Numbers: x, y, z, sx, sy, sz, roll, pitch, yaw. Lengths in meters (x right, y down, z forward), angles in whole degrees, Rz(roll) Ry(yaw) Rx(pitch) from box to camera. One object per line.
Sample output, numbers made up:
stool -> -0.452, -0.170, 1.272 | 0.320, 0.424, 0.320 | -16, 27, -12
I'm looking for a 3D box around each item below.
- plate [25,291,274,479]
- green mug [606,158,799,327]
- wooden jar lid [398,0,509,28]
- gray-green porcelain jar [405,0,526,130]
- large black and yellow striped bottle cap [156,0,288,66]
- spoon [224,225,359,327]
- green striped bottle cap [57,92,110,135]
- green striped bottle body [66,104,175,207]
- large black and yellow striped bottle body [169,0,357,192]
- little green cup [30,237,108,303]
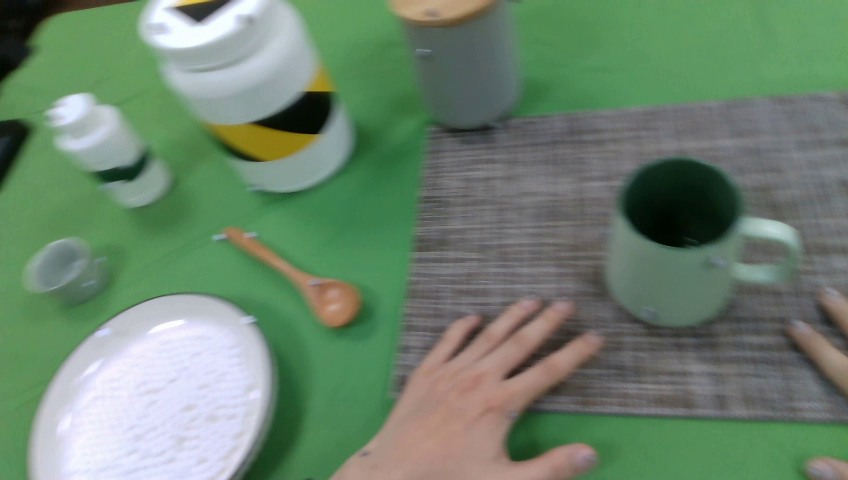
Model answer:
plate -> -0.217, 0.140, 0.497 | 0.209, 0.038, 0.207 | -7, 55, 10
green mug -> 0.196, 0.006, 0.434 | 0.125, 0.106, 0.092 | 7, 58, 19
wooden jar lid -> 0.031, -0.219, 0.541 | 0.108, 0.021, 0.107 | -9, 53, 12
gray-green porcelain jar -> 0.044, -0.181, 0.589 | 0.106, 0.128, 0.105 | -7, 51, 9
large black and yellow striped bottle cap -> -0.172, -0.193, 0.517 | 0.115, 0.019, 0.114 | -6, 54, 9
spoon -> -0.128, 0.024, 0.562 | 0.192, 0.022, 0.041 | 29, 86, 29
green striped bottle cap -> -0.331, -0.123, 0.589 | 0.044, 0.020, 0.044 | -5, 57, 9
green striped bottle body -> -0.320, -0.093, 0.630 | 0.063, 0.120, 0.062 | -7, 55, 11
large black and yellow striped bottle body -> -0.152, -0.149, 0.585 | 0.130, 0.186, 0.129 | -7, 56, 10
little green cup -> -0.351, 0.032, 0.604 | 0.061, 0.039, 0.061 | -6, 55, 10
